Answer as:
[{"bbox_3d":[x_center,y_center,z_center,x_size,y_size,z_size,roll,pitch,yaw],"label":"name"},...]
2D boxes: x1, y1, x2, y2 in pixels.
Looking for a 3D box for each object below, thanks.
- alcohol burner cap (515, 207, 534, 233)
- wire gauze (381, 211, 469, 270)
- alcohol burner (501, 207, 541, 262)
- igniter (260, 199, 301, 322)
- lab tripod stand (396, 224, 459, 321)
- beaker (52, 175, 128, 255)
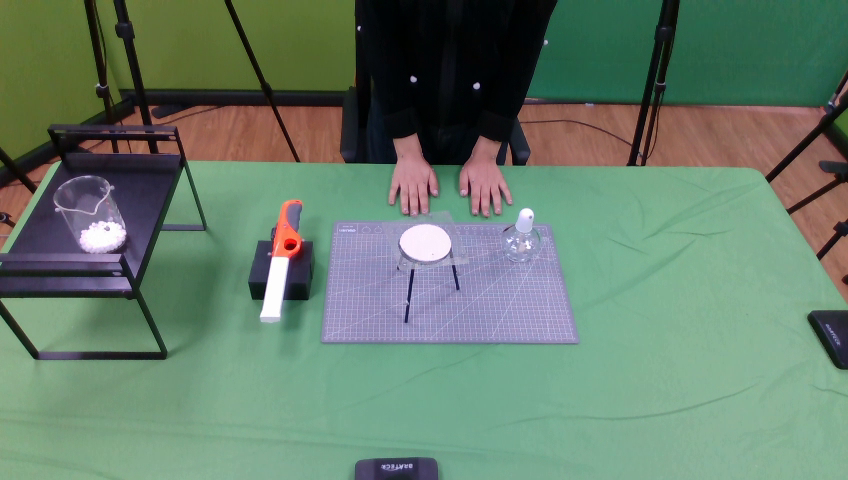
[{"bbox_3d":[0.190,-0.041,1.135,0.034,0.048,0.033,3,50,-3],"label":"alcohol burner cap"},{"bbox_3d":[0.000,0.001,1.024,0.125,0.011,0.120,-9,48,-13],"label":"wire gauze"},{"bbox_3d":[0.188,-0.015,1.161,0.078,0.120,0.077,1,44,-1],"label":"alcohol burner"},{"bbox_3d":[-0.255,0.027,1.084,0.057,0.025,0.274,3,49,-5],"label":"igniter"},{"bbox_3d":[-0.003,0.052,1.067,0.148,0.132,0.147,3,48,-3],"label":"lab tripod stand"},{"bbox_3d":[-0.482,-0.032,0.888,0.074,0.101,0.083,-28,55,-27],"label":"beaker"}]
